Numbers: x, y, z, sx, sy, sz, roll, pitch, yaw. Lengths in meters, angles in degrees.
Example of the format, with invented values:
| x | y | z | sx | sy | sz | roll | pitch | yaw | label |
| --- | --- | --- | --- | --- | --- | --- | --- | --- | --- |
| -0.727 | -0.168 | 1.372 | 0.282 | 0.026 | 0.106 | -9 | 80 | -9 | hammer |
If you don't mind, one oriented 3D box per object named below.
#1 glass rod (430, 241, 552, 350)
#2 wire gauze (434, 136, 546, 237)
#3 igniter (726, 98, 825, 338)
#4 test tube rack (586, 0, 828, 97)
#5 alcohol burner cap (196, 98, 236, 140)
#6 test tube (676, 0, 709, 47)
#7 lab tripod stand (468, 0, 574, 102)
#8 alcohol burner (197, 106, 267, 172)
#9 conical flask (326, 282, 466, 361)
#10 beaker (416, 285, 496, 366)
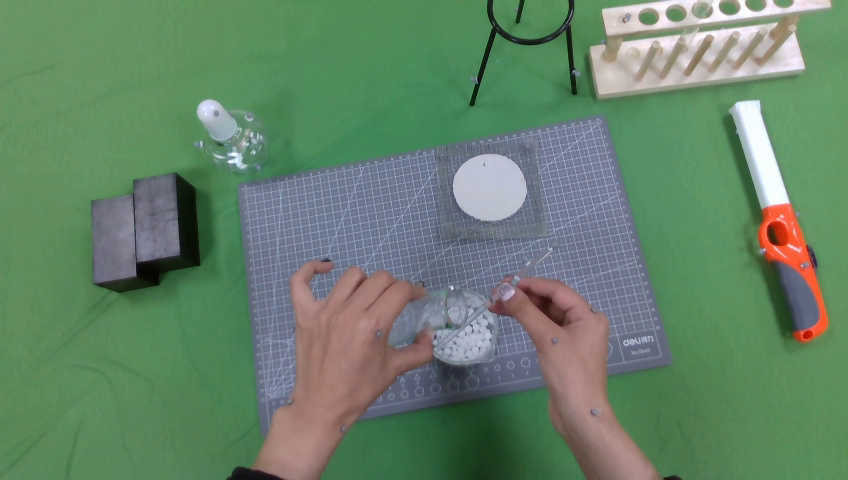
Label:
| x | y | z | sx | sy | sz | roll | pitch | yaw | label |
| --- | --- | --- | --- | --- | --- | --- | --- | --- | --- |
| 0.052 | 0.056 | 0.542 | 0.008 | 0.200 | 0.008 | 17 | 50 | -21 | glass rod |
| 0.076 | -0.062 | 0.708 | 0.125 | 0.011 | 0.121 | -2 | 75 | 1 | wire gauze |
| 0.388 | -0.030 | 0.670 | 0.057 | 0.025 | 0.275 | -7 | 75 | -7 | igniter |
| 0.319 | -0.230 | 0.696 | 0.242 | 0.085 | 0.066 | -7 | 74 | 3 | test tube rack |
| -0.229 | -0.135 | 0.660 | 0.034 | 0.048 | 0.033 | -1 | 69 | 4 | alcohol burner cap |
| 0.297 | -0.254 | 0.653 | 0.017 | 0.151 | 0.017 | -2 | 75 | 7 | test tube |
| 0.110 | -0.226 | 0.686 | 0.148 | 0.132 | 0.147 | -1 | 77 | 4 | lab tripod stand |
| -0.226 | -0.123 | 0.694 | 0.078 | 0.120 | 0.077 | -1 | 76 | 6 | alcohol burner |
| -0.022 | 0.067 | 0.542 | 0.121 | 0.076 | 0.075 | -13 | 72 | 34 | conical flask |
| 0.038 | 0.094 | 0.624 | 0.083 | 0.101 | 0.074 | 42 | 83 | 13 | beaker |
